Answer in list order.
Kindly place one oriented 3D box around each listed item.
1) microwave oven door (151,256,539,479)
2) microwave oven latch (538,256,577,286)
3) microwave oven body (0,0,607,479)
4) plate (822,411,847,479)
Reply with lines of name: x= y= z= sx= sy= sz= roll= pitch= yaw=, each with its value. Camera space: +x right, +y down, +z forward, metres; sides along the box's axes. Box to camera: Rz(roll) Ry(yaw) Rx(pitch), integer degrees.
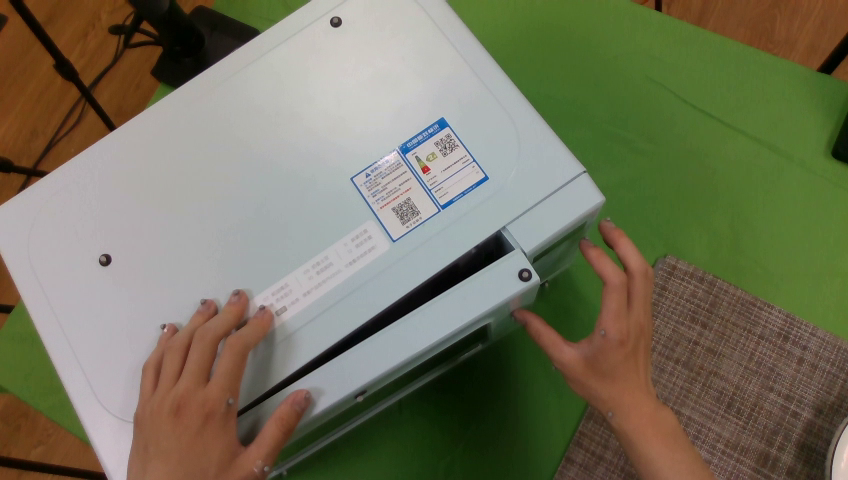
microwave oven door: x=-0.057 y=0.138 z=0.565 sx=0.356 sy=0.245 sz=0.039 roll=-31 pitch=73 yaw=-2
microwave oven latch: x=0.132 y=0.032 z=0.676 sx=0.079 sy=0.029 sz=0.030 roll=-33 pitch=75 yaw=-2
microwave oven body: x=-0.108 y=-0.008 z=0.613 sx=0.442 sy=0.261 sz=0.324 roll=-35 pitch=75 yaw=-2
plate: x=0.498 y=0.247 z=0.595 sx=0.207 sy=0.039 sz=0.206 roll=-1 pitch=76 yaw=6
